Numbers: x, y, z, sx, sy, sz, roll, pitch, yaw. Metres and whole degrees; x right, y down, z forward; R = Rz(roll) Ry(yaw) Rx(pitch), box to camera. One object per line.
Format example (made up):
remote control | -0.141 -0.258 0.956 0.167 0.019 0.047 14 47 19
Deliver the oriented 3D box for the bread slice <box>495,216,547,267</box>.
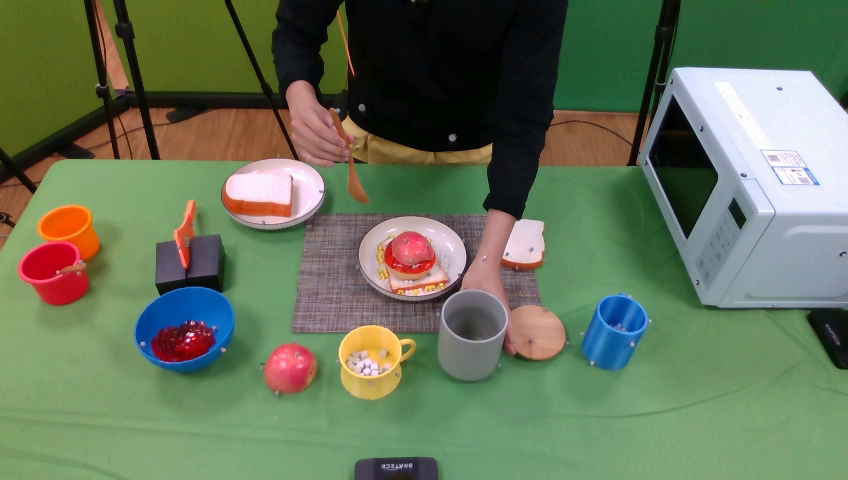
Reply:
bread slice | 0.194 0.001 1.204 0.105 0.019 0.131 5 46 3

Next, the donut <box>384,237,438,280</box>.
donut | -0.025 0.029 1.109 0.099 0.048 0.098 2 46 -2

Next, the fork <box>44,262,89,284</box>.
fork | -0.599 0.054 1.014 0.207 0.019 0.028 -15 29 45

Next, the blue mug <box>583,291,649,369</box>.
blue mug | 0.324 0.142 1.023 0.082 0.106 0.116 15 47 11

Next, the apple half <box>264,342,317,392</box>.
apple half | -0.214 0.198 0.970 0.074 0.053 0.080 19 48 10

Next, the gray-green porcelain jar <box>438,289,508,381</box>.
gray-green porcelain jar | 0.076 0.158 0.978 0.106 0.127 0.105 2 46 -1

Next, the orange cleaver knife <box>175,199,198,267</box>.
orange cleaver knife | -0.438 -0.017 1.138 0.012 0.077 0.210 -14 27 -7

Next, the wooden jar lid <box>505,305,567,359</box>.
wooden jar lid | 0.192 0.161 1.051 0.108 0.021 0.107 2 49 -3

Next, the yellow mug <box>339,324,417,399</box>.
yellow mug | -0.072 0.190 0.978 0.131 0.064 0.099 -17 50 -20

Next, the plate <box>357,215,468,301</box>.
plate | -0.021 0.037 1.141 0.208 0.039 0.206 2 46 -2

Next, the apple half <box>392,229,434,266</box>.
apple half | -0.020 0.005 1.083 0.081 0.033 0.081 6 47 -7

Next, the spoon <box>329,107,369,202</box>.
spoon | -0.120 -0.129 0.949 0.041 0.195 0.021 25 54 30

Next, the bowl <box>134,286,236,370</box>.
bowl | -0.377 0.155 0.981 0.151 0.077 0.150 2 46 -2

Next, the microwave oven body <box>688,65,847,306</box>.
microwave oven body | 0.669 -0.111 1.176 0.326 0.261 0.439 0 46 -3

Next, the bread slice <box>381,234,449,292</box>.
bread slice | -0.027 0.039 1.140 0.107 0.018 0.133 -12 49 -16

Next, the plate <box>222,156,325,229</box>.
plate | -0.308 -0.095 1.251 0.209 0.038 0.208 2 47 -2

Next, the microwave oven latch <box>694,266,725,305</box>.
microwave oven latch | 0.523 0.082 1.115 0.030 0.029 0.078 3 46 0

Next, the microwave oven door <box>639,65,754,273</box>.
microwave oven door | 0.522 -0.147 1.193 0.039 0.245 0.353 0 47 -3
